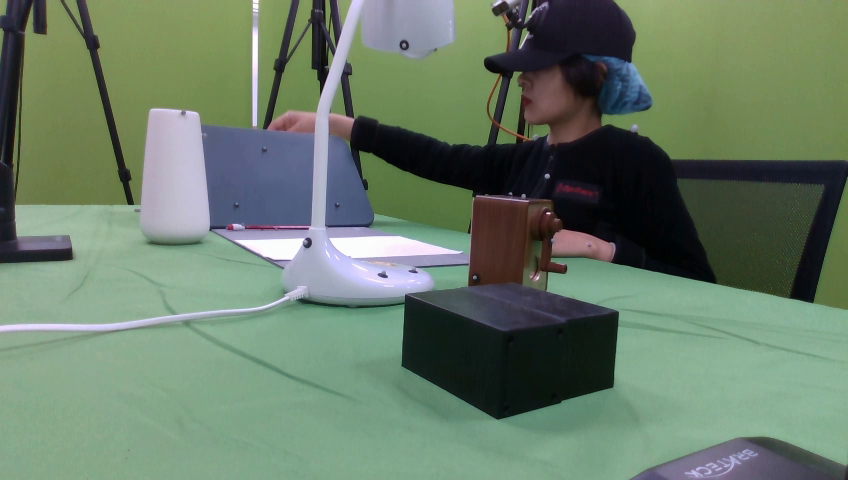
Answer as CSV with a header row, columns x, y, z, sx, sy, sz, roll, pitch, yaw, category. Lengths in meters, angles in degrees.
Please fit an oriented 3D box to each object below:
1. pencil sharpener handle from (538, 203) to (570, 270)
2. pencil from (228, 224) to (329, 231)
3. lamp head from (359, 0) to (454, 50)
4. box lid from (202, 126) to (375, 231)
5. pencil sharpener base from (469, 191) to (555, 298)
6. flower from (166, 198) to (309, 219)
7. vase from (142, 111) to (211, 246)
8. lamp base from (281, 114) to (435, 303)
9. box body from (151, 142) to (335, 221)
x,y,z,sx,sy,sz,roll,pitch,yaw,category
0.137,-0.003,0.619,0.030,0.067,0.036,8,5,38,pencil sharpener handle
-0.266,-0.024,1.124,0.195,0.012,0.012,-1,8,-32,pencil
-0.024,-0.283,0.674,0.112,0.123,0.112,-3,38,3,lamp head
-0.294,-0.128,1.235,0.373,0.262,0.015,-2,-35,-32,box lid
0.097,0.003,0.652,0.076,0.107,0.061,8,9,38,pencil sharpener base
-0.399,-0.061,1.357,0.044,0.038,0.364,-37,-23,32,flower
-0.378,-0.093,0.920,0.098,0.200,0.098,2,9,0,vase
-0.071,-0.035,0.614,0.160,0.180,0.180,6,10,27,lamp base
-0.413,-0.134,1.379,0.366,0.160,0.253,-2,9,-31,box body
